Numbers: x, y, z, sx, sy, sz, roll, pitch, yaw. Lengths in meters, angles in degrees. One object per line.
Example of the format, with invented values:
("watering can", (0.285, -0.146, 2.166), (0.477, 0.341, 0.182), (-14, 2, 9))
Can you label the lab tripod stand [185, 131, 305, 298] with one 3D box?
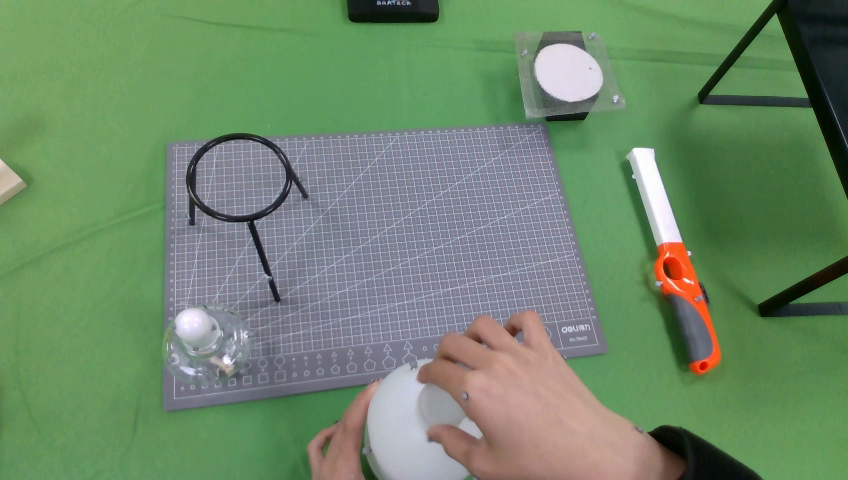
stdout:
("lab tripod stand", (-0.169, -0.029, 0.591), (0.149, 0.132, 0.147), (4, 66, -8))

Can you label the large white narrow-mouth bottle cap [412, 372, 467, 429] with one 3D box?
("large white narrow-mouth bottle cap", (0.010, 0.111, 0.419), (0.038, 0.024, 0.037), (3, 65, -6))

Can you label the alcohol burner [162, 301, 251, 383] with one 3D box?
("alcohol burner", (-0.198, 0.086, 0.546), (0.078, 0.120, 0.077), (4, 64, -8))

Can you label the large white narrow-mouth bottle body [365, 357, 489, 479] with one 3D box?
("large white narrow-mouth bottle body", (0.001, 0.152, 0.503), (0.102, 0.196, 0.101), (3, 65, -5))

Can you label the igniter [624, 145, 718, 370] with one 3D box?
("igniter", (0.282, 0.012, 0.697), (0.057, 0.025, 0.274), (0, 66, -19))

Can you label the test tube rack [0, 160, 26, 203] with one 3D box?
("test tube rack", (-0.520, -0.017, 0.565), (0.066, 0.085, 0.242), (40, 67, 10))

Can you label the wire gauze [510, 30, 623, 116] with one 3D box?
("wire gauze", (0.170, -0.206, 0.736), (0.122, 0.011, 0.124), (-3, 67, -9))

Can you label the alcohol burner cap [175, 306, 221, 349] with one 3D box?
("alcohol burner cap", (-0.193, 0.073, 0.513), (0.034, 0.048, 0.033), (2, 71, -7))
